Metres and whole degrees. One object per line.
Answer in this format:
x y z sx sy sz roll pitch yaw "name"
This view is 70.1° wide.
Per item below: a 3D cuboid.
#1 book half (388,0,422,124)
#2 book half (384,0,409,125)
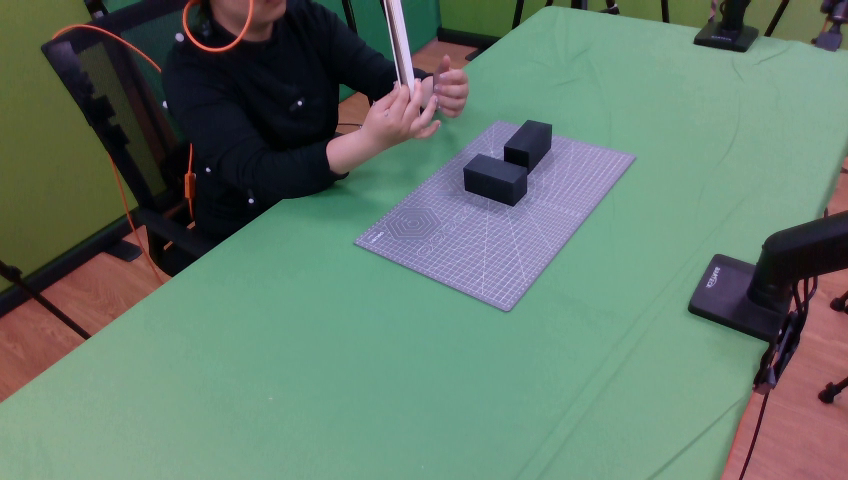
-0.035 -0.316 1.032 0.016 0.211 0.148 -12 28 -2 "book half"
-0.047 -0.314 1.028 0.007 0.211 0.142 -9 27 2 "book half"
